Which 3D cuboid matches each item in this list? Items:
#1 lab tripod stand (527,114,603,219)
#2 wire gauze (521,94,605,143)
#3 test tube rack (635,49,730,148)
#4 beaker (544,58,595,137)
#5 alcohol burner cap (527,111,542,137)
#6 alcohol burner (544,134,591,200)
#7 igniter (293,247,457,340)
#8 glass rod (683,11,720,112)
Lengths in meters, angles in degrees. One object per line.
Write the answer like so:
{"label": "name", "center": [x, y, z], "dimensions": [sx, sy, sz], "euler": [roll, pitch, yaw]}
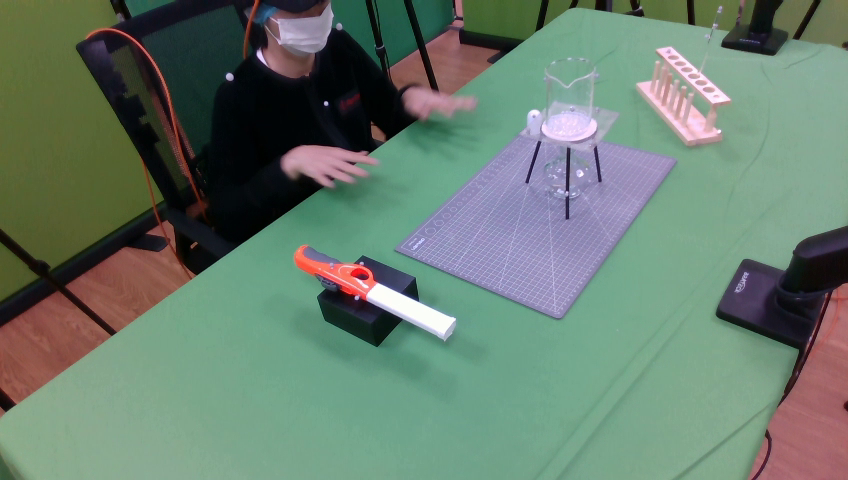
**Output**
{"label": "lab tripod stand", "center": [0.234, -0.129, 1.002], "dimensions": [0.148, 0.132, 0.147], "euler": [-6, 40, 6]}
{"label": "wire gauze", "center": [0.219, -0.190, 0.949], "dimensions": [0.121, 0.011, 0.125], "euler": [7, 46, 14]}
{"label": "test tube rack", "center": [0.497, -0.283, 1.184], "dimensions": [0.067, 0.085, 0.240], "euler": [-10, 40, -2]}
{"label": "beaker", "center": [0.222, -0.214, 0.926], "dimensions": [0.074, 0.101, 0.084], "euler": [4, 42, 16]}
{"label": "alcohol burner cap", "center": [0.220, -0.233, 1.200], "dimensions": [0.034, 0.048, 0.033], "euler": [-7, 41, 6]}
{"label": "alcohol burner", "center": [0.241, -0.127, 1.014], "dimensions": [0.078, 0.119, 0.077], "euler": [-5, 42, 5]}
{"label": "igniter", "center": [-0.077, 0.068, 0.830], "dimensions": [0.274, 0.025, 0.057], "euler": [22, 48, 27]}
{"label": "glass rod", "center": [0.518, -0.329, 1.133], "dimensions": [0.008, 0.200, 0.008], "euler": [1, 42, -1]}
